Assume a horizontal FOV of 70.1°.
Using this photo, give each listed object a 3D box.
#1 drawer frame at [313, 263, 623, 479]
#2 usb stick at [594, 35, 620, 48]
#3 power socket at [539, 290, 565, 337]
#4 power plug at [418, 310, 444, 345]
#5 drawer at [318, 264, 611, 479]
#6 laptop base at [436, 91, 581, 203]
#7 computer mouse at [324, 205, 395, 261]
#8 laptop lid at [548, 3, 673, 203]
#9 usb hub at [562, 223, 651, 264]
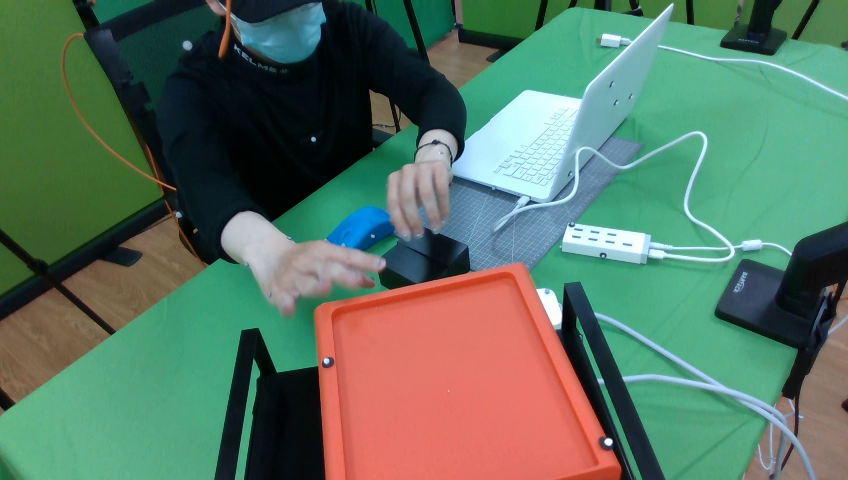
[{"bbox_3d":[0.021,0.130,0.493,0.202,0.083,0.212,-11,41,-6],"label":"drawer frame"},{"bbox_3d":[0.444,-0.482,1.466,0.059,0.021,0.027,10,43,10],"label":"usb stick"},{"bbox_3d":[0.081,0.112,0.822,0.227,0.033,0.072,-6,41,0],"label":"power socket"},{"bbox_3d":[0.007,0.122,0.785,0.035,0.053,0.072,0,39,8],"label":"power plug"},{"bbox_3d":[0.020,0.129,0.497,0.195,0.073,0.210,-11,41,-5],"label":"drawer"},{"bbox_3d":[0.215,-0.193,1.172,0.233,0.023,0.355,19,46,32],"label":"laptop base"},{"bbox_3d":[-0.107,-0.016,0.994,0.117,0.041,0.062,-36,50,-21],"label":"computer mouse"},{"bbox_3d":[0.320,-0.235,1.026,0.013,0.242,0.357,31,50,20],"label":"laptop lid"},{"bbox_3d":[0.279,0.005,0.925,0.124,0.025,0.049,10,43,19],"label":"usb hub"}]
